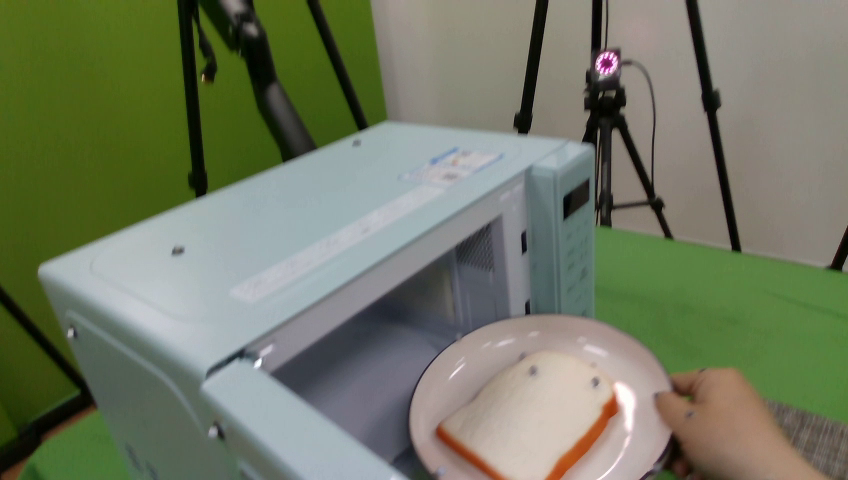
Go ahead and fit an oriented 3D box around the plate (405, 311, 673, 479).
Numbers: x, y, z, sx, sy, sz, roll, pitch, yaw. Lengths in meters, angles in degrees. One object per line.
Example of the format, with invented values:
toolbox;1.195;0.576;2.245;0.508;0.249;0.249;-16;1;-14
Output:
plate;0.089;0.136;0.488;0.209;0.038;0.207;-10;30;6

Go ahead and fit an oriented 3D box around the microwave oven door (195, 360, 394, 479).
microwave oven door;0.017;0.217;0.282;0.039;0.245;0.352;-29;32;-36

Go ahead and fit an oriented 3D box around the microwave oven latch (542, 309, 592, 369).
microwave oven latch;0.165;0.113;0.695;0.030;0.030;0.079;15;35;39

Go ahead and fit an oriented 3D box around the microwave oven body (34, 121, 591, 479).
microwave oven body;-0.074;0.072;0.627;0.323;0.262;0.441;14;34;38

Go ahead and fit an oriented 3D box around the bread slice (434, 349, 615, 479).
bread slice;0.086;0.137;0.492;0.131;0.019;0.104;-34;36;-30
